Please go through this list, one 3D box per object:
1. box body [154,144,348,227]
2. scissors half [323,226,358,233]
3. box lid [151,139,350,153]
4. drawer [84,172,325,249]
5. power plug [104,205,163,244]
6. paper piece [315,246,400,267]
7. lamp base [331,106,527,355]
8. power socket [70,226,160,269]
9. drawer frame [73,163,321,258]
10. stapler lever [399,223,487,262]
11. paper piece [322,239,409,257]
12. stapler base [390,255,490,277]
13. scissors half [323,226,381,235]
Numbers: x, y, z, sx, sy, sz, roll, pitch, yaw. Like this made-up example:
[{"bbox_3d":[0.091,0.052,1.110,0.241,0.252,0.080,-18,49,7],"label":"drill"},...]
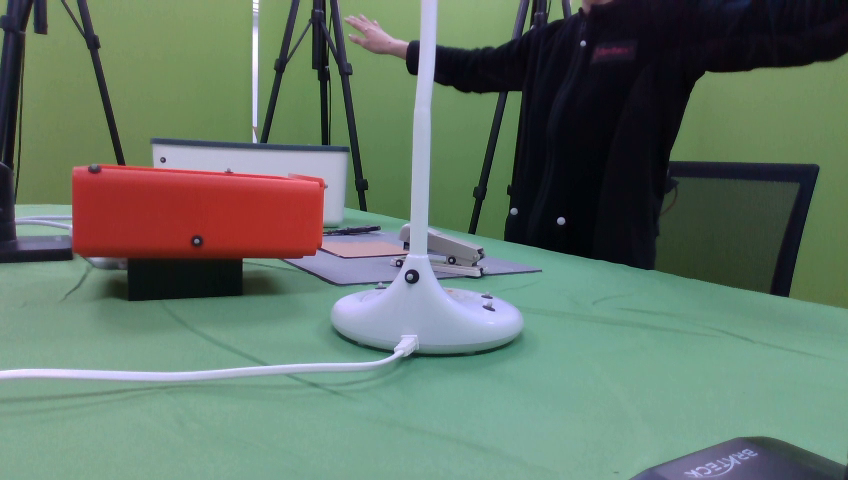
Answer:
[{"bbox_3d":[-0.357,-0.119,1.264,0.365,0.160,0.253,0,7,-18],"label":"box body"},{"bbox_3d":[-0.166,-0.016,1.094,0.040,0.013,0.176,4,7,39],"label":"scissors half"},{"bbox_3d":[-0.352,-0.191,1.255,0.373,0.015,0.262,0,8,-18],"label":"box lid"},{"bbox_3d":[-0.227,-0.036,0.638,0.213,0.073,0.193,-1,9,-23],"label":"drawer"},{"bbox_3d":[-0.390,-0.021,0.815,0.073,0.052,0.035,-1,8,-27],"label":"power plug"},{"bbox_3d":[-0.101,0.021,0.918,0.136,0.004,0.135,2,13,-22],"label":"paper piece"},{"bbox_3d":[0.006,-0.012,0.478,0.161,0.180,0.179,2,10,2],"label":"lamp base"},{"bbox_3d":[-0.409,0.004,0.793,0.072,0.032,0.225,-2,8,-38],"label":"power socket"},{"bbox_3d":[-0.232,-0.034,0.635,0.214,0.082,0.201,1,8,-23],"label":"drawer frame"},{"bbox_3d":[0.022,0.003,0.776,0.117,0.040,0.027,7,12,25],"label":"stapler lever"},{"bbox_3d":[-0.091,0.011,0.920,0.139,0.008,0.135,0,12,-34],"label":"paper piece"},{"bbox_3d":[0.020,0.027,0.779,0.130,0.024,0.041,7,12,25],"label":"stapler base"},{"bbox_3d":[-0.153,-0.015,1.079,0.176,0.013,0.040,-6,2,-33],"label":"scissors half"}]
